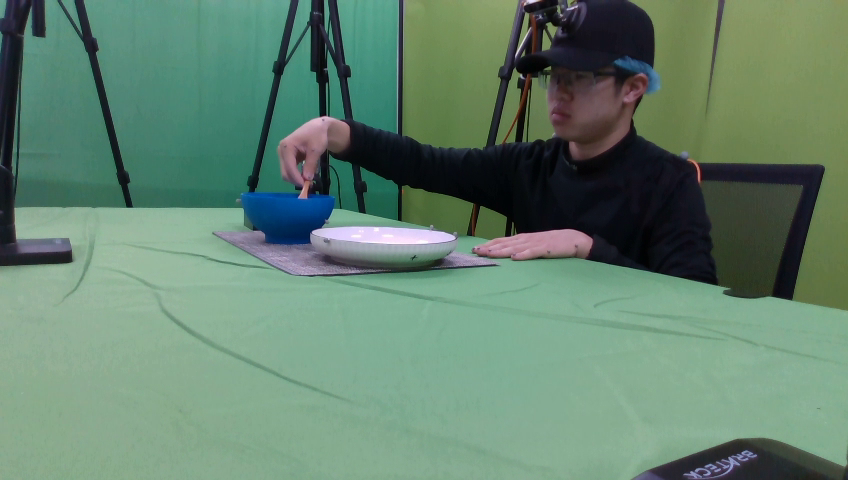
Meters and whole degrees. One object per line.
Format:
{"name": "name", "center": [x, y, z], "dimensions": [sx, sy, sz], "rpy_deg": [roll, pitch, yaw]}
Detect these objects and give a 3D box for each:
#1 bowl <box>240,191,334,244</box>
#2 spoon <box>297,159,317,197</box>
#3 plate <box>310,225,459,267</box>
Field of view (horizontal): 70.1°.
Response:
{"name": "bowl", "center": [-0.223, -0.037, 0.992], "dimensions": [0.151, 0.077, 0.151], "rpy_deg": [2, 7, 0]}
{"name": "spoon", "center": [-0.201, -0.089, 1.026], "dimensions": [0.042, 0.021, 0.193], "rpy_deg": [7, 40, -3]}
{"name": "plate", "center": [-0.055, 0.008, 0.851], "dimensions": [0.208, 0.039, 0.207], "rpy_deg": [2, 7, 0]}
